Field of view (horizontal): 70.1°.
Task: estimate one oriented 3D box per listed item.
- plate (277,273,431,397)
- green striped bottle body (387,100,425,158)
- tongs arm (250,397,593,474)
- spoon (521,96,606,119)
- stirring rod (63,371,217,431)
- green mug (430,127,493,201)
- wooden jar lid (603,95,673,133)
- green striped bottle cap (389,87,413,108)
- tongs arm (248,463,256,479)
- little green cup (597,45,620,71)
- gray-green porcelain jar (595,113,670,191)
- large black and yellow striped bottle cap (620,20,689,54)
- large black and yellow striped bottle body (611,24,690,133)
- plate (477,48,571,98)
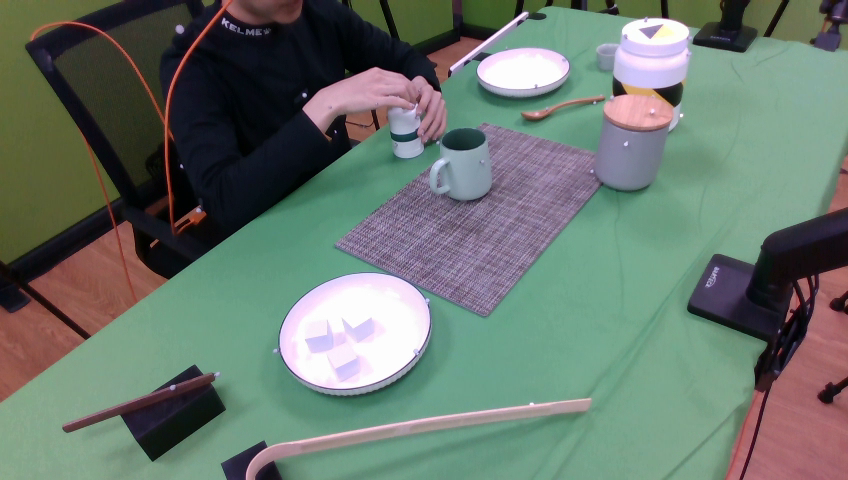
[{"bbox_3d":[-0.091,0.129,0.821,0.207,0.039,0.206,-4,40,4],"label":"plate"},{"bbox_3d":[-0.035,-0.223,1.160,0.063,0.120,0.063,-5,39,4],"label":"green striped bottle body"},{"bbox_3d":[0.008,0.212,0.675,0.389,0.028,0.028,-5,46,-11],"label":"tongs arm"},{"bbox_3d":[0.291,-0.277,1.249,0.194,0.022,0.041,-18,23,-11],"label":"spoon"},{"bbox_3d":[-0.337,0.192,0.723,0.177,0.014,0.005,-18,43,-12],"label":"stirring rod"},{"bbox_3d":[0.059,-0.122,1.034,0.126,0.105,0.091,-35,48,-28],"label":"green mug"},{"bbox_3d":[0.343,-0.200,0.974,0.108,0.021,0.108,-2,39,2],"label":"wooden jar lid"},{"bbox_3d":[-0.043,-0.265,1.123,0.044,0.020,0.044,-5,45,6],"label":"green striped bottle cap"},{"bbox_3d":[0.012,0.262,0.615,0.385,0.026,0.050,2,42,-2],"label":"tongs arm"},{"bbox_3d":[0.423,-0.413,1.376,0.061,0.039,0.061,-4,41,4],"label":"little green cup"},{"bbox_3d":[0.346,-0.155,1.017,0.106,0.127,0.105,-2,44,2],"label":"gray-green porcelain jar"},{"bbox_3d":[0.411,-0.363,1.080,0.115,0.019,0.114,-4,42,4],"label":"large black and yellow striped bottle cap"},{"bbox_3d":[0.420,-0.299,1.132,0.131,0.185,0.130,-5,41,4],"label":"large black and yellow striped bottle body"},{"bbox_3d":[0.223,-0.371,1.357,0.209,0.038,0.208,-4,41,4],"label":"plate"}]
